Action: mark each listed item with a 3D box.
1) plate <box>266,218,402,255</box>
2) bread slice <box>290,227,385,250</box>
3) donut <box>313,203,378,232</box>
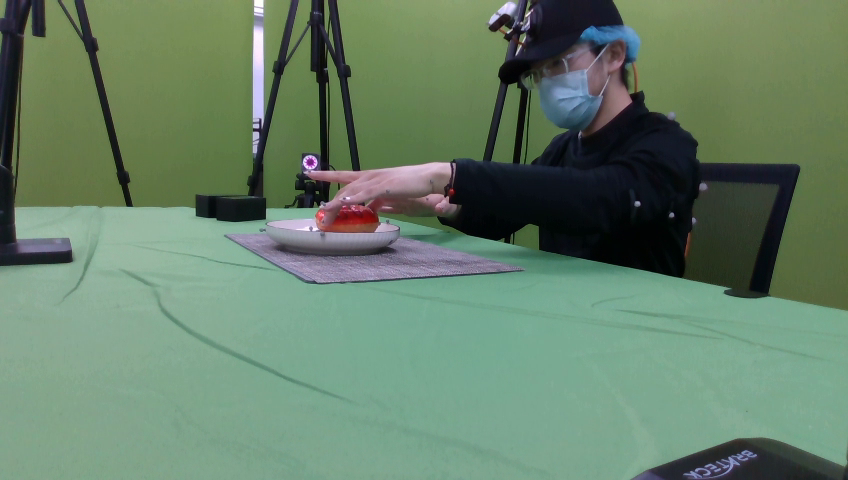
[{"bbox_3d":[-0.138,-0.006,0.941,0.208,0.039,0.207,3,7,0],"label":"plate"},{"bbox_3d":[-0.142,-0.005,0.939,0.131,0.019,0.105,8,9,33],"label":"bread slice"},{"bbox_3d":[-0.119,-0.030,0.915,0.099,0.048,0.099,5,10,-1],"label":"donut"}]
